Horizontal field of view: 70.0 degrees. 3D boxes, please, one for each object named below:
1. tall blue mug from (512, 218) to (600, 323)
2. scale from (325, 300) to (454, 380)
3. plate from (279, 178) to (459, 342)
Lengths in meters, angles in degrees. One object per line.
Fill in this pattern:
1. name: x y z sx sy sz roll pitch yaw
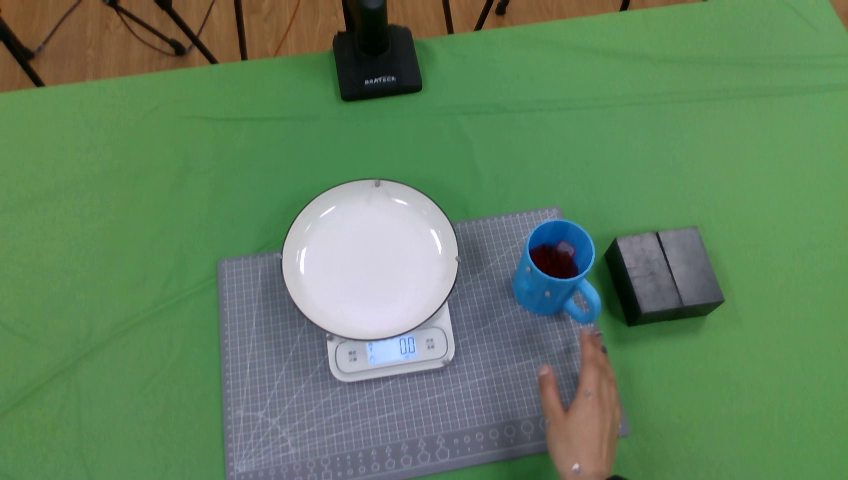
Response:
1. tall blue mug: 0.162 0.040 0.709 0.107 0.109 0.077 25 66 10
2. scale: -0.050 0.062 0.738 0.149 0.032 0.199 -8 66 -4
3. plate: -0.063 0.024 0.719 0.209 0.038 0.207 1 65 -2
